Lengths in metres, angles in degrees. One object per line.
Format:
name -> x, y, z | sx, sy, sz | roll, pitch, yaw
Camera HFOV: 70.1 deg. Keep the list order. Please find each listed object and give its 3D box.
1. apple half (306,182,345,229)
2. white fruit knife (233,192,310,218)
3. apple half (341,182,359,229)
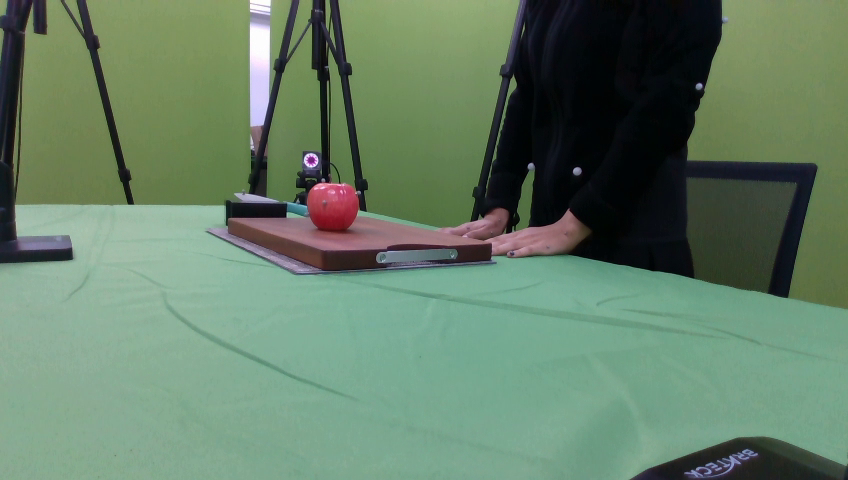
apple half -> -0.157, -0.054, 0.950 | 0.053, 0.074, 0.080 | -4, 13, -20
white fruit knife -> -0.276, -0.066, 1.210 | 0.208, 0.027, 0.016 | 14, 0, -24
apple half -> -0.120, -0.056, 0.963 | 0.033, 0.081, 0.081 | -5, 9, -20
